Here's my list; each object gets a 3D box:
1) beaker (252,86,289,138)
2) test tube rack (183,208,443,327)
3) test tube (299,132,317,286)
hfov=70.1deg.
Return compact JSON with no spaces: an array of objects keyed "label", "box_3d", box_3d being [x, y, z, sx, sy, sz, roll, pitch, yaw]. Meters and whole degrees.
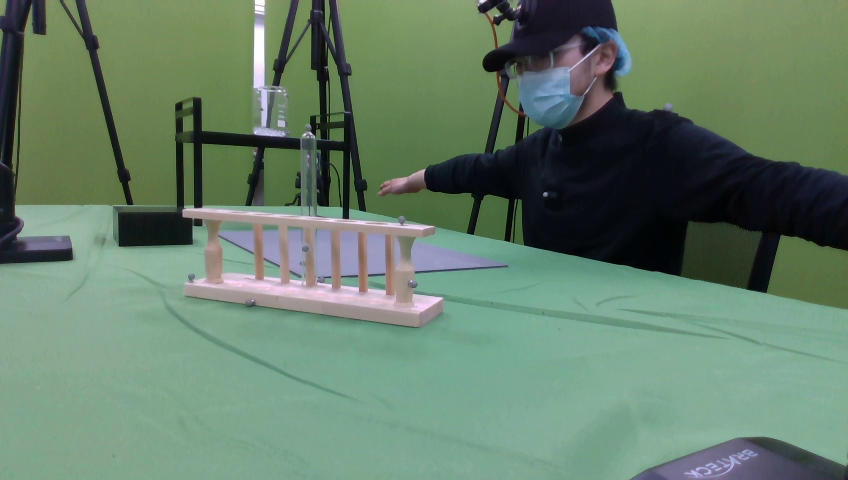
[{"label":"beaker","box_3d":[-0.319,-0.263,1.250,0.074,0.100,0.084,5,8,21]},{"label":"test tube rack","box_3d":[-0.106,0.019,0.570,0.241,0.085,0.067,5,8,19]},{"label":"test tube","box_3d":[-0.113,-0.029,0.588,0.017,0.150,0.017,1,7,0]}]
